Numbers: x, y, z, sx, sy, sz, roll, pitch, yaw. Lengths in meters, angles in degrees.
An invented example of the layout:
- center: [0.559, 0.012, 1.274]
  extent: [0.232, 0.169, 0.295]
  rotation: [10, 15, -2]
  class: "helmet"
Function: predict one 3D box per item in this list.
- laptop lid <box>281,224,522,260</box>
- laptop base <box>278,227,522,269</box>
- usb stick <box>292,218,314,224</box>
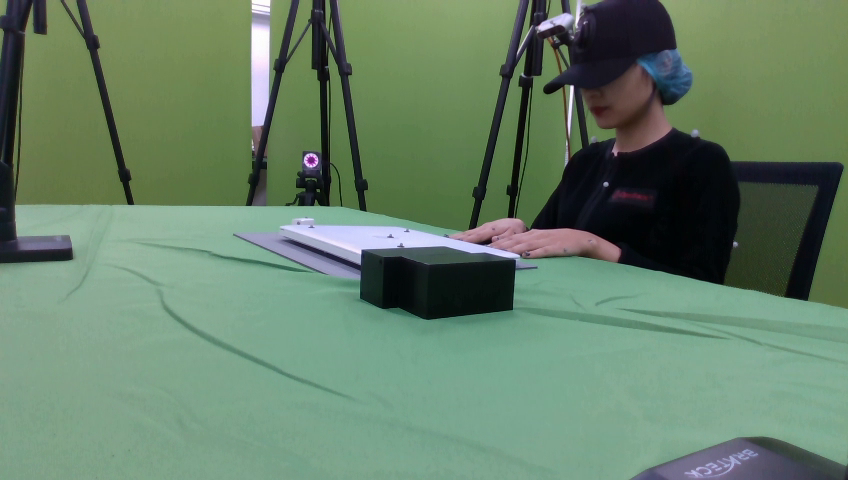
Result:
- center: [-0.050, -0.002, 0.911]
  extent: [0.243, 0.013, 0.355]
  rotation: [1, 7, -31]
  class: "laptop lid"
- center: [-0.053, 0.010, 0.911]
  extent: [0.237, 0.023, 0.352]
  rotation: [2, 6, -32]
  class: "laptop base"
- center: [-0.222, -0.026, 1.091]
  extent: [0.021, 0.027, 0.059]
  rotation: [5, 10, 21]
  class: "usb stick"
